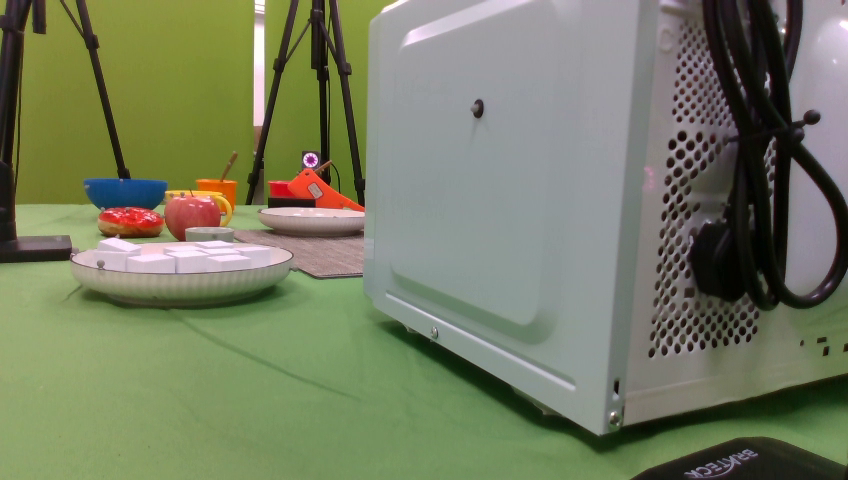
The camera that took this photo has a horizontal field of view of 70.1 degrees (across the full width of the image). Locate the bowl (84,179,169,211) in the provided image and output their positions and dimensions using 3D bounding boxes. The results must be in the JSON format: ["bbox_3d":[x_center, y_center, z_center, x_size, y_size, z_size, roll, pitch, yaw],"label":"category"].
[{"bbox_3d":[-0.584,-0.078,1.194,0.151,0.077,0.151,3,8,0],"label":"bowl"}]

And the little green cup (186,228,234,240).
[{"bbox_3d":[-0.284,0.005,0.805,0.061,0.038,0.061,2,8,0],"label":"little green cup"}]

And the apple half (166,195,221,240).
[{"bbox_3d":[-0.351,-0.031,0.935,0.081,0.074,0.053,1,11,-40],"label":"apple half"}]

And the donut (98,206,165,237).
[{"bbox_3d":[-0.472,-0.028,0.979,0.099,0.048,0.099,5,8,0],"label":"donut"}]

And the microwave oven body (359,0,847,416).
[{"bbox_3d":[0.211,-0.047,0.474,0.444,0.260,0.324,-1,7,-28],"label":"microwave oven body"}]

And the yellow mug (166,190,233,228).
[{"bbox_3d":[-0.415,-0.057,1.132,0.130,0.064,0.100,6,8,16],"label":"yellow mug"}]

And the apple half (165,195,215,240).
[{"bbox_3d":[-0.377,-0.038,0.964,0.082,0.081,0.032,-4,15,-39],"label":"apple half"}]

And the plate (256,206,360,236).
[{"bbox_3d":[-0.202,-0.037,1.120,0.209,0.038,0.209,2,8,0],"label":"plate"}]

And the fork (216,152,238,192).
[{"bbox_3d":[-0.455,-0.132,1.366,0.028,0.018,0.207,-2,-35,-37],"label":"fork"}]

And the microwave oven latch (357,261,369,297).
[{"bbox_3d":[-0.019,0.034,0.530,0.079,0.029,0.030,-1,7,-27],"label":"microwave oven latch"}]

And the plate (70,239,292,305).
[{"bbox_3d":[-0.242,0.031,0.618,0.208,0.039,0.207,2,8,0],"label":"plate"}]

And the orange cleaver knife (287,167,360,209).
[{"bbox_3d":[-0.209,-0.089,1.383,0.212,0.077,0.012,31,3,-15],"label":"orange cleaver knife"}]

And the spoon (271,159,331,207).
[{"bbox_3d":[-0.307,-0.141,1.513,0.193,0.021,0.041,-41,4,8],"label":"spoon"}]

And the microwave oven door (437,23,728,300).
[{"bbox_3d":[0.181,-0.072,0.621,0.358,0.243,0.039,-2,8,-29],"label":"microwave oven door"}]
